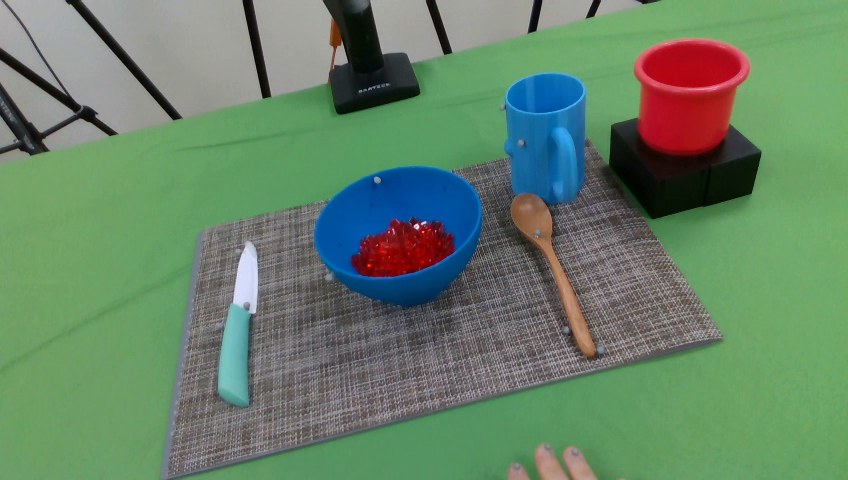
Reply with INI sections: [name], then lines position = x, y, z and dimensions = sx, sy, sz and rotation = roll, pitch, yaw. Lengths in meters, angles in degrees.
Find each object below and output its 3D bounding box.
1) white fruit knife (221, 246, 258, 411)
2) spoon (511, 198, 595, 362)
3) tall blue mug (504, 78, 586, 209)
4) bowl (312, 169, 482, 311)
[white fruit knife]
position = -0.172, 0.073, 0.574
dimensions = 0.027, 0.016, 0.205
rotation = 10, 36, -19
[spoon]
position = 0.116, 0.028, 0.545
dimensions = 0.042, 0.022, 0.191
rotation = 1, 41, -12
[tall blue mug]
position = 0.132, -0.090, 0.603
dimensions = 0.078, 0.109, 0.106
rotation = -33, 46, -22
[bowl]
position = -0.018, 0.012, 0.554
dimensions = 0.151, 0.077, 0.150
rotation = -7, 43, 7
